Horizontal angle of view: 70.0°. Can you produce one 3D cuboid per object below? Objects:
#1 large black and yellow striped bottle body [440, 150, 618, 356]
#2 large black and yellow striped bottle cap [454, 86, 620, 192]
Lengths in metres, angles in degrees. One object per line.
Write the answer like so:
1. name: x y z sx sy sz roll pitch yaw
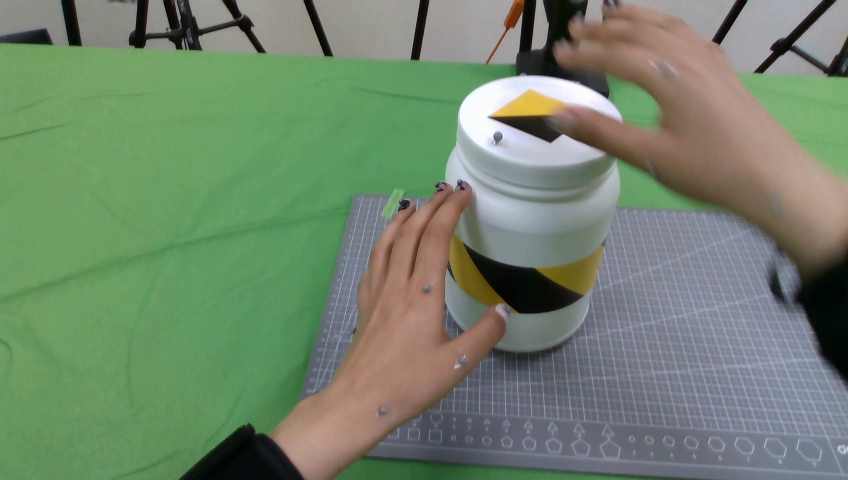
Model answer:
1. large black and yellow striped bottle body: 0.079 -0.011 0.487 0.131 0.185 0.129 0 43 0
2. large black and yellow striped bottle cap: 0.078 -0.074 0.426 0.115 0.019 0.114 1 42 -1
